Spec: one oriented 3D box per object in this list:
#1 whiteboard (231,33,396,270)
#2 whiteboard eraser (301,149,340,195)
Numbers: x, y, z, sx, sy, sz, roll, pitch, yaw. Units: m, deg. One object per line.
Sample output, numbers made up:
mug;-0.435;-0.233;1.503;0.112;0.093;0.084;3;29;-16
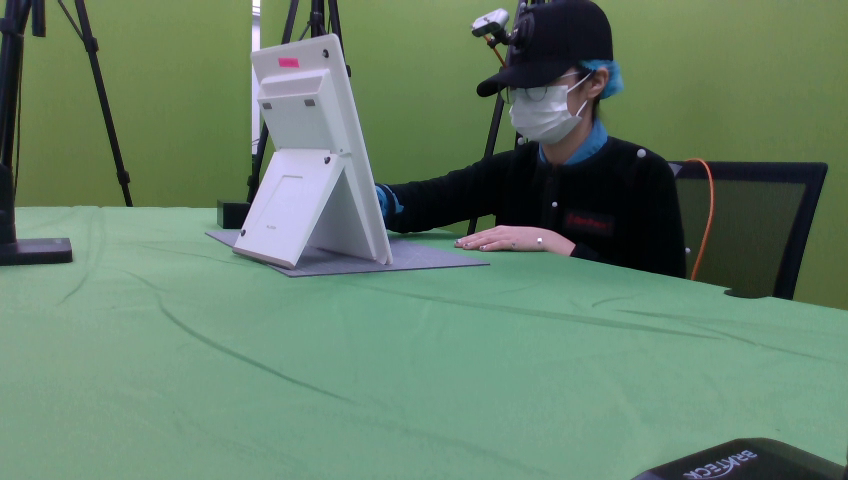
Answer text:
whiteboard;-0.193;-0.094;0.805;0.144;0.305;0.216;-29;25;-35
whiteboard eraser;-0.152;-0.097;0.880;0.019;0.041;0.101;-28;-3;-36
